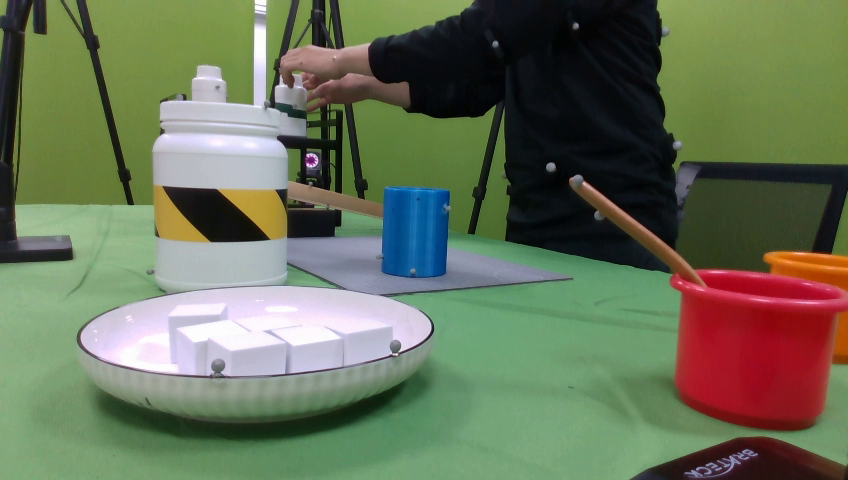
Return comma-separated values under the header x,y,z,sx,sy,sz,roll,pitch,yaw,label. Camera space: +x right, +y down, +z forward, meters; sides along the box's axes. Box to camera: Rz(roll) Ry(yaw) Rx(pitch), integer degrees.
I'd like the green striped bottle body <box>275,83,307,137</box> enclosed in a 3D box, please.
x,y,z,sx,sy,sz,roll,pitch,yaw,label
-0.269,-0.269,1.222,0.063,0.119,0.063,2,8,0,green striped bottle body

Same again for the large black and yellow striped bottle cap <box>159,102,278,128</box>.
x,y,z,sx,sy,sz,roll,pitch,yaw,label
-0.207,-0.125,0.615,0.115,0.019,0.115,2,6,0,large black and yellow striped bottle cap

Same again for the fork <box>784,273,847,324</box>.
x,y,z,sx,sy,sz,roll,pitch,yaw,label
0.332,0.018,0.444,0.028,0.018,0.207,-2,-35,-15,fork

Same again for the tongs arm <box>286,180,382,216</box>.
x,y,z,sx,sy,sz,roll,pitch,yaw,label
-0.123,-0.066,1.147,0.387,0.026,0.050,11,-3,-38,tongs arm

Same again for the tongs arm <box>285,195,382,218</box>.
x,y,z,sx,sy,sz,roll,pitch,yaw,label
-0.166,-0.074,1.216,0.389,0.027,0.028,11,-6,-24,tongs arm

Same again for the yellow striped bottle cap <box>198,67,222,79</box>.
x,y,z,sx,sy,sz,roll,pitch,yaw,label
-0.411,-0.320,1.163,0.044,0.018,0.044,0,6,0,yellow striped bottle cap

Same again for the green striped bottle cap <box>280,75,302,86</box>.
x,y,z,sx,sy,sz,roll,pitch,yaw,label
-0.267,-0.320,1.216,0.044,0.020,0.044,4,8,0,green striped bottle cap

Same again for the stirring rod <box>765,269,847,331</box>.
x,y,z,sx,sy,sz,roll,pitch,yaw,label
0.351,0.020,0.484,0.176,0.006,0.014,-40,-6,12,stirring rod

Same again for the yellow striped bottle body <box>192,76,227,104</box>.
x,y,z,sx,sy,sz,roll,pitch,yaw,label
-0.414,-0.268,1.169,0.063,0.120,0.063,2,7,0,yellow striped bottle body

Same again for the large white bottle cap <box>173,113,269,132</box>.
x,y,z,sx,sy,sz,roll,pitch,yaw,label
-0.254,-0.146,0.760,0.115,0.018,0.115,1,7,0,large white bottle cap

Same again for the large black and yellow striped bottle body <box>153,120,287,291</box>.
x,y,z,sx,sy,sz,roll,pitch,yaw,label
-0.208,-0.043,0.626,0.131,0.184,0.130,2,7,0,large black and yellow striped bottle body

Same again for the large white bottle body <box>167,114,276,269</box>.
x,y,z,sx,sy,sz,roll,pitch,yaw,label
-0.256,-0.063,0.772,0.131,0.184,0.130,2,7,0,large white bottle body

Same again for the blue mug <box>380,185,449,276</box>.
x,y,z,sx,sy,sz,roll,pitch,yaw,label
-0.018,-0.016,0.764,0.083,0.106,0.116,-2,8,-25,blue mug

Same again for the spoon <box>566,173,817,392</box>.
x,y,z,sx,sy,sz,roll,pitch,yaw,label
0.161,0.024,0.370,0.193,0.021,0.042,47,18,3,spoon

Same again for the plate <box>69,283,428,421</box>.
x,y,z,sx,sy,sz,roll,pitch,yaw,label
-0.102,0.066,0.381,0.208,0.039,0.207,2,7,0,plate
